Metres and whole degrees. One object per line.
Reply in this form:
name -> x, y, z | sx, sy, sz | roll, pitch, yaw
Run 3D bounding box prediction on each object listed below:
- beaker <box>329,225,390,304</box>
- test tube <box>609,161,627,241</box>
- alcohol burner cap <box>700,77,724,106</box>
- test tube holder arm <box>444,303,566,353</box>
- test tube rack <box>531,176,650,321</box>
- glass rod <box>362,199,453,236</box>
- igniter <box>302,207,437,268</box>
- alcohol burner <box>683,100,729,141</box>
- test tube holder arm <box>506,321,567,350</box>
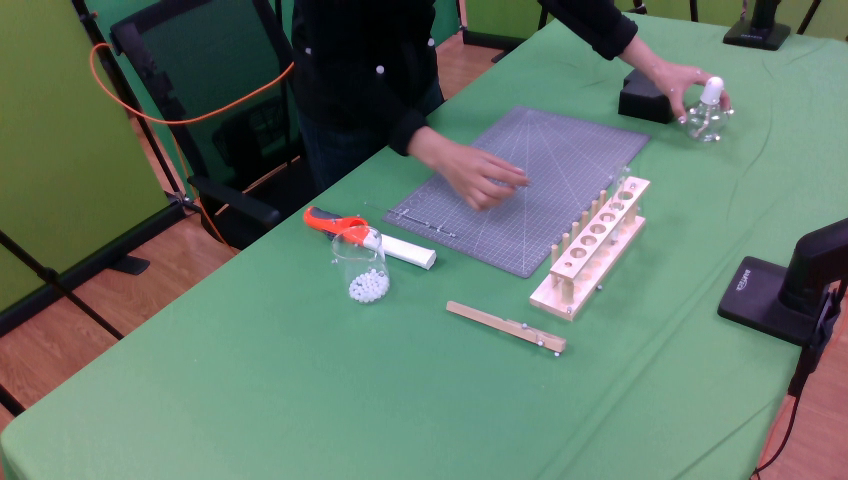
beaker -> -0.089, 0.040, 0.890 | 0.074, 0.101, 0.083 | -32, 46, -24
test tube -> 0.277, -0.052, 0.864 | 0.017, 0.151, 0.017 | -6, 47, 7
alcohol burner cap -> 0.511, -0.264, 1.067 | 0.034, 0.048, 0.033 | -2, 52, 3
test tube holder arm -> 0.106, 0.117, 0.823 | 0.177, 0.015, 0.013 | 16, 10, 27
test tube rack -> 0.246, 0.002, 0.884 | 0.066, 0.085, 0.243 | 22, 49, 32
glass rod -> -0.032, -0.041, 1.041 | 0.198, 0.008, 0.008 | 22, 50, 31
igniter -> -0.100, -0.008, 1.005 | 0.274, 0.025, 0.057 | 18, 57, 29
alcohol burner -> 0.514, -0.240, 1.093 | 0.078, 0.119, 0.077 | -3, 45, 3
test tube holder arm -> 0.148, 0.128, 0.808 | 0.087, 0.015, 0.010 | 16, 10, 28
